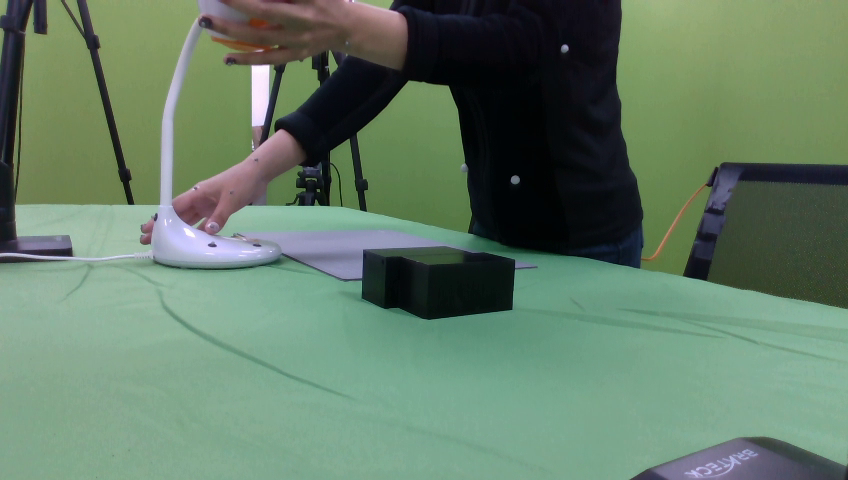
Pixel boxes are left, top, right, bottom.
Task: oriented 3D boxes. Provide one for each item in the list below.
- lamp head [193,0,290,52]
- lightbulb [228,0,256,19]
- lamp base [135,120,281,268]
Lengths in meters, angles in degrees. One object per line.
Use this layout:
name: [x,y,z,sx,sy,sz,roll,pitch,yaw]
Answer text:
lamp head: [-0.187,-0.254,0.610,0.112,0.123,0.112,10,19,-3]
lightbulb: [-0.176,-0.276,0.603,0.059,0.107,0.059,10,11,-2]
lamp base: [-0.276,-0.061,0.773,0.160,0.180,0.180,9,13,44]
